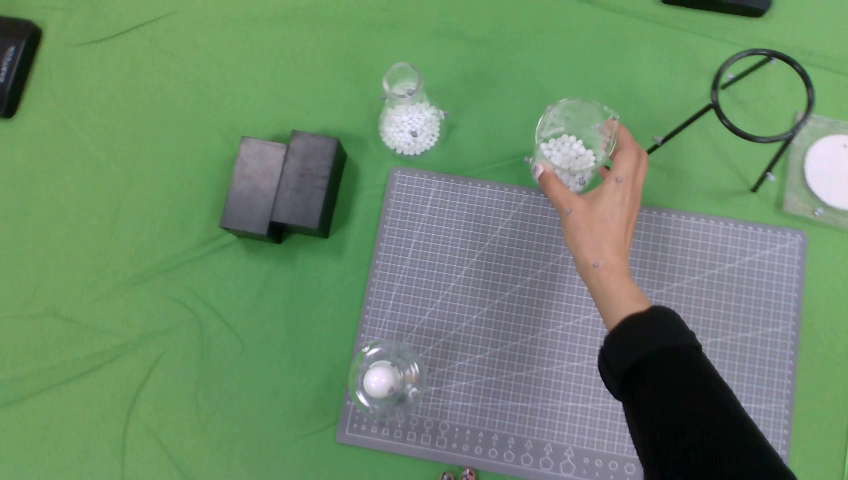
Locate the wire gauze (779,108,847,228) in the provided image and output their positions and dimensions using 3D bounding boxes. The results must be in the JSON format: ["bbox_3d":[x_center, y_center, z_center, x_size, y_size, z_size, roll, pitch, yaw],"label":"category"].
[{"bbox_3d":[0.448,-0.074,0.649,0.125,0.011,0.121,16,81,3],"label":"wire gauze"}]

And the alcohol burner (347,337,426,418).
[{"bbox_3d":[-0.038,0.131,0.577,0.078,0.119,0.077,-1,78,5],"label":"alcohol burner"}]

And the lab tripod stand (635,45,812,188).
[{"bbox_3d":[0.299,-0.118,0.600,0.148,0.132,0.148,-1,81,4],"label":"lab tripod stand"}]

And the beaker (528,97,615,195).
[{"bbox_3d":[0.145,-0.091,0.608,0.084,0.100,0.073,-30,78,-1],"label":"beaker"}]

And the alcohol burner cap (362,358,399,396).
[{"bbox_3d":[-0.040,0.123,0.542,0.034,0.048,0.034,0,84,1],"label":"alcohol burner cap"}]

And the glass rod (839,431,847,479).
[{"bbox_3d":[0.437,0.146,0.609,0.008,0.008,0.199,14,83,5],"label":"glass rod"}]

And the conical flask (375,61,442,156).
[{"bbox_3d":[-0.020,-0.139,0.624,0.075,0.122,0.075,-1,79,3],"label":"conical flask"}]
